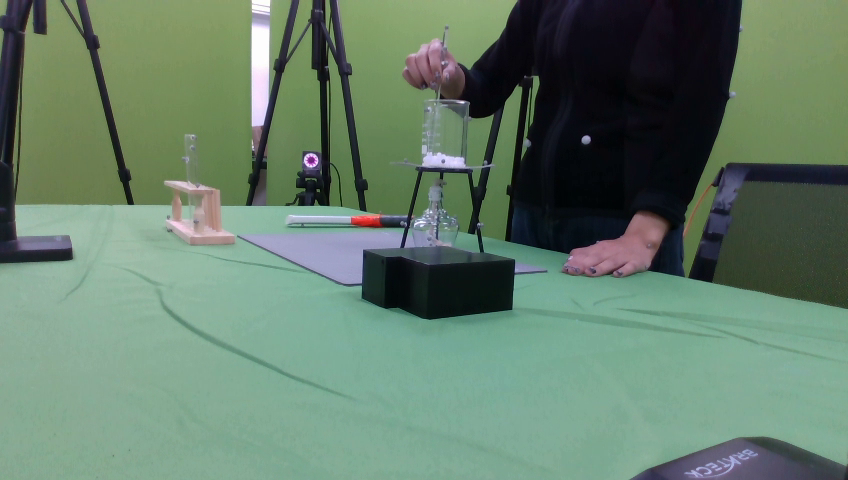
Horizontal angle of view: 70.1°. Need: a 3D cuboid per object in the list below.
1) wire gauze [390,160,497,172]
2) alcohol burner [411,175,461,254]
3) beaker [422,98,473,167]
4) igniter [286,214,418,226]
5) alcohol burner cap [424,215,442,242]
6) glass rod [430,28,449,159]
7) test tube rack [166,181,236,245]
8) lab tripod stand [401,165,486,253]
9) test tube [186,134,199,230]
[{"bbox_3d":[0.028,-0.114,0.920,0.122,0.011,0.124,-5,13,-34],"label":"wire gauze"},{"bbox_3d":[0.018,-0.040,0.931,0.078,0.119,0.078,0,7,0],"label":"alcohol burner"},{"bbox_3d":[0.031,-0.162,0.919,0.074,0.100,0.083,-4,9,-36],"label":"beaker"},{"bbox_3d":[-0.145,-0.043,1.263,0.278,0.025,0.057,-1,-2,-25],"label":"igniter"},{"bbox_3d":[0.017,-0.022,1.098,0.034,0.048,0.034,2,9,0],"label":"alcohol burner cap"},{"bbox_3d":[0.024,-0.222,0.921,0.008,0.199,0.008,7,3,0],"label":"glass rod"},{"bbox_3d":[-0.383,-0.051,1.024,0.067,0.085,0.241,-2,9,-31],"label":"test tube rack"},{"bbox_3d":[0.028,-0.049,0.930,0.148,0.131,0.148,2,9,0],"label":"lab tripod stand"},{"bbox_3d":[-0.360,-0.089,0.946,0.017,0.150,0.017,0,10,0],"label":"test tube"}]
